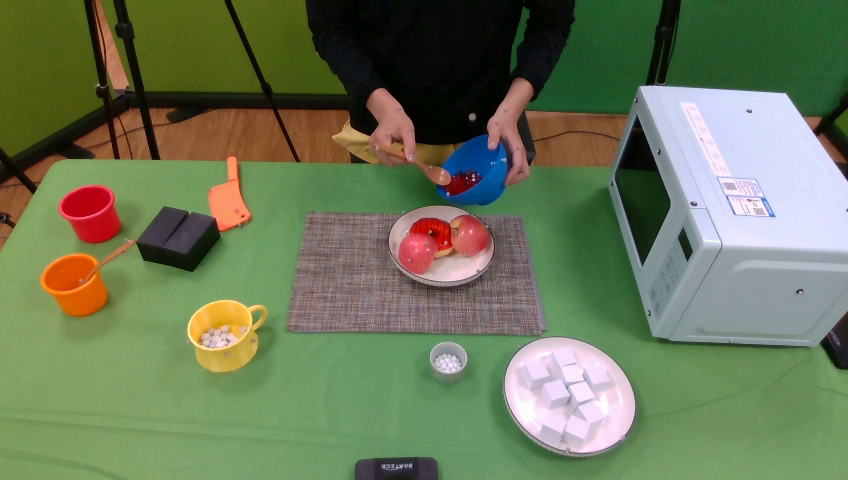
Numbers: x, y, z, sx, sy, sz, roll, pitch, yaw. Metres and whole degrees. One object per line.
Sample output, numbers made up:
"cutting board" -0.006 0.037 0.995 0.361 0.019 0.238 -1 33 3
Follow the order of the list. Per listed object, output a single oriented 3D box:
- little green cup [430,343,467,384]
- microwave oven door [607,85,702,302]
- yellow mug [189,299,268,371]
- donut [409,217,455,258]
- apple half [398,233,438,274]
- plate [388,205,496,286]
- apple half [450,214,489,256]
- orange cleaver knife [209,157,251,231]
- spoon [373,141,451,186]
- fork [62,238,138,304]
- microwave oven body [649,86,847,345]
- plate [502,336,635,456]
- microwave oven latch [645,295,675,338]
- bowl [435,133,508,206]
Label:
"little green cup" 0.039 0.203 0.993 0.061 0.039 0.061 2 46 -2
"microwave oven door" 0.423 -0.094 1.141 0.039 0.245 0.353 2 46 -1
"yellow mug" -0.316 0.148 1.002 0.131 0.064 0.099 -33 56 -31
"donut" 0.019 -0.006 1.174 0.099 0.048 0.098 3 43 -2
"apple half" -0.016 0.022 1.123 0.081 0.033 0.081 -2 83 14
"plate" 0.033 0.014 1.171 0.209 0.038 0.208 2 46 -2
"apple half" 0.092 -0.013 1.158 0.075 0.053 0.080 35 39 -28
"orange cleaver knife" -0.409 -0.099 1.266 0.077 0.012 0.210 -14 50 -10
"spoon" -0.018 -0.141 1.087 0.021 0.195 0.041 -25 59 32
"fork" -0.547 0.053 1.018 0.207 0.019 0.028 -36 41 23
"microwave oven body" 0.568 -0.053 1.118 0.326 0.261 0.439 2 45 -1
"plate" 0.225 0.248 0.964 0.208 0.039 0.206 2 46 -2
"microwave oven latch" 0.412 0.134 1.061 0.030 0.029 0.078 3 45 0
"bowl" 0.104 -0.117 1.135 0.151 0.077 0.150 -30 35 25
